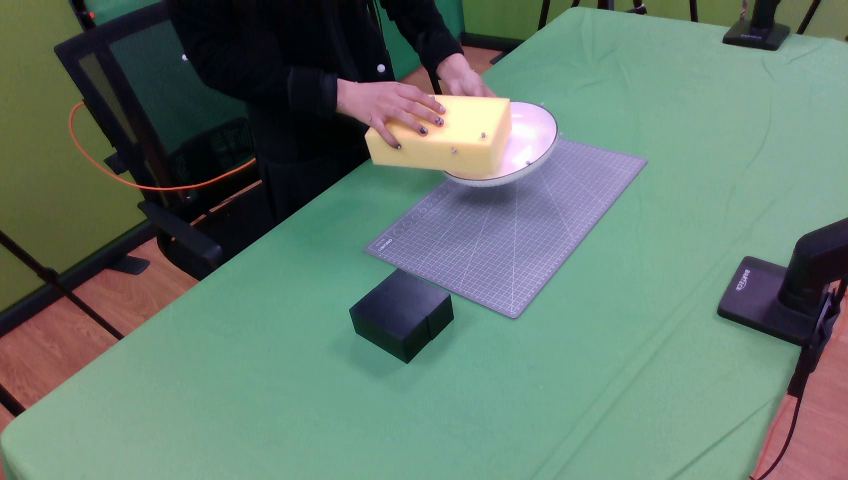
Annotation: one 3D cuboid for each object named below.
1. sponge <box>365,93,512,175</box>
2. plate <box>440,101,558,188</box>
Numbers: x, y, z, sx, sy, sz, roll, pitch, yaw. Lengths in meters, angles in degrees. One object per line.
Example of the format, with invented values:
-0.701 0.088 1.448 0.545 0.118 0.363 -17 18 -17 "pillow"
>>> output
0.026 -0.174 0.970 0.206 0.061 0.118 7 50 18 "sponge"
0.120 -0.157 1.015 0.209 0.038 0.208 -11 44 12 "plate"
